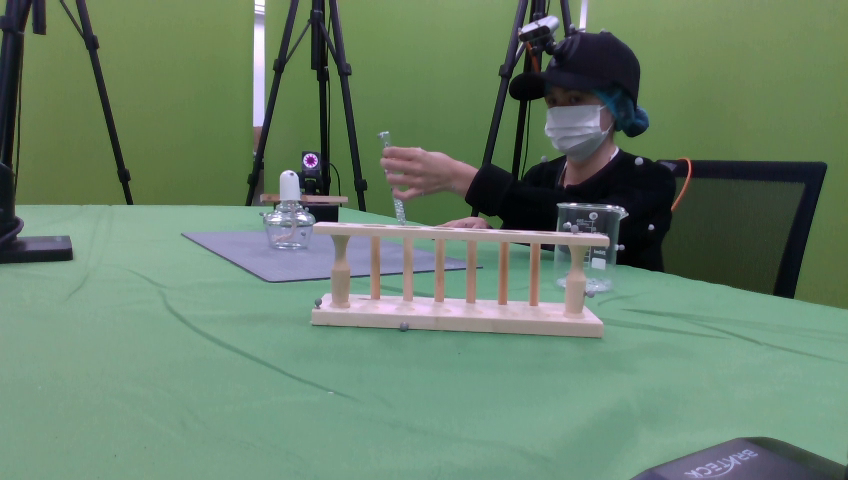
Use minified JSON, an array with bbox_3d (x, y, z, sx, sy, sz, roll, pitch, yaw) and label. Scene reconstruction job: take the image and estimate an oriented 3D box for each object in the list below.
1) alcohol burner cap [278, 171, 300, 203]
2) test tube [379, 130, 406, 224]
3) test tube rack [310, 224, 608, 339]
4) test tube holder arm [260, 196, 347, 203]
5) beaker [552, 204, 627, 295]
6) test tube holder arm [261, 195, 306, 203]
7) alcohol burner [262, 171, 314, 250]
[{"bbox_3d":[-0.203,-0.080,0.909,0.034,0.048,0.034,-1,3,0],"label":"alcohol burner cap"},{"bbox_3d":[-0.049,-0.098,0.953,0.017,0.150,0.017,-11,10,2],"label":"test tube"},{"bbox_3d":[0.028,0.032,0.528,0.242,0.085,0.067,3,7,0],"label":"test tube rack"},{"bbox_3d":[-0.239,-0.082,1.213,0.179,0.015,0.013,-1,0,-32],"label":"test tube holder arm"},{"bbox_3d":[0.191,0.010,0.708,0.083,0.100,0.074,8,9,33],"label":"beaker"},{"bbox_3d":[-0.275,-0.081,1.185,0.088,0.015,0.010,-1,0,-32],"label":"test tube holder arm"},{"bbox_3d":[-0.205,-0.045,0.913,0.078,0.119,0.078,1,9,0],"label":"alcohol burner"}]
